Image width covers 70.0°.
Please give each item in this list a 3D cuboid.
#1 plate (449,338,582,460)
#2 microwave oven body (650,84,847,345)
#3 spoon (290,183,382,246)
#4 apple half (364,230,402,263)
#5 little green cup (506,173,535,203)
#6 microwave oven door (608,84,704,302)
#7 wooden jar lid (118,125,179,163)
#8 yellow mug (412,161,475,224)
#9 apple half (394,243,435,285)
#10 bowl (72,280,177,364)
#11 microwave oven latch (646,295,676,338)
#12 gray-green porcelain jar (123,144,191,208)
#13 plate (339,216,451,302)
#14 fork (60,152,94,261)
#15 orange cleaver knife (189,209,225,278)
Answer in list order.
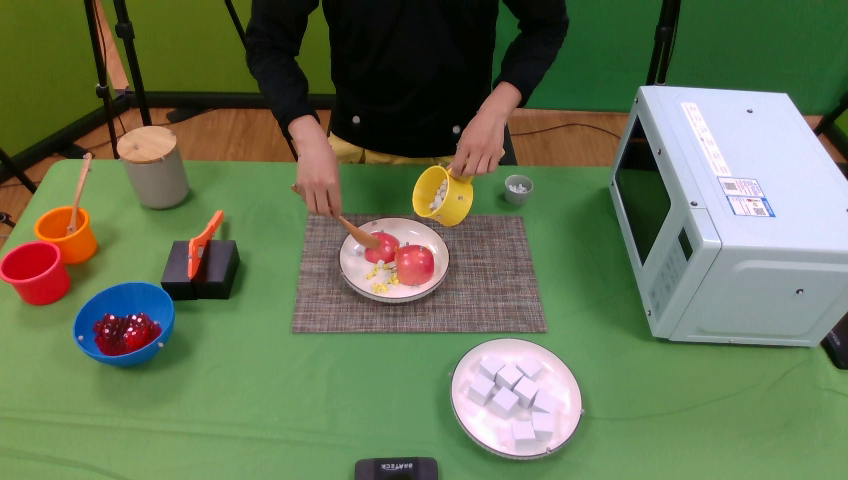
[{"bbox_3d":[0.141,0.251,0.955,0.208,0.039,0.206,2,47,-2],"label":"plate"},{"bbox_3d":[0.569,-0.054,1.116,0.326,0.261,0.439,2,46,-1],"label":"microwave oven body"},{"bbox_3d":[-0.157,-0.044,1.085,0.194,0.041,0.021,38,54,-15],"label":"spoon"},{"bbox_3d":[-0.079,0.004,1.159,0.081,0.033,0.081,2,50,-2],"label":"apple half"},{"bbox_3d":[0.205,-0.111,1.302,0.061,0.039,0.061,1,45,-1],"label":"little green cup"},{"bbox_3d":[0.424,-0.096,1.138,0.039,0.245,0.353,2,47,-1],"label":"microwave oven door"},{"bbox_3d":[-0.528,-0.181,1.167,0.108,0.021,0.107,4,48,-4],"label":"wooden jar lid"},{"bbox_3d":[0.043,-0.096,1.118,0.064,0.131,0.099,18,32,-40],"label":"yellow mug"},{"bbox_3d":[-0.017,0.036,1.120,0.075,0.053,0.080,1,46,-7],"label":"apple half"},{"bbox_3d":[-0.472,0.147,0.982,0.151,0.077,0.150,2,46,-2],"label":"bowl"},{"bbox_3d":[0.413,0.133,1.060,0.030,0.029,0.078,4,46,1],"label":"microwave oven latch"},{"bbox_3d":[-0.530,-0.136,1.213,0.106,0.127,0.105,2,46,-2],"label":"gray-green porcelain jar"},{"bbox_3d":[-0.054,0.038,1.138,0.209,0.038,0.208,2,46,-2],"label":"plate"},{"bbox_3d":[-0.638,-0.063,1.119,0.028,0.018,0.207,12,90,9],"label":"fork"},{"bbox_3d":[-0.400,0.002,1.122,0.012,0.077,0.210,4,23,-4],"label":"orange cleaver knife"}]
